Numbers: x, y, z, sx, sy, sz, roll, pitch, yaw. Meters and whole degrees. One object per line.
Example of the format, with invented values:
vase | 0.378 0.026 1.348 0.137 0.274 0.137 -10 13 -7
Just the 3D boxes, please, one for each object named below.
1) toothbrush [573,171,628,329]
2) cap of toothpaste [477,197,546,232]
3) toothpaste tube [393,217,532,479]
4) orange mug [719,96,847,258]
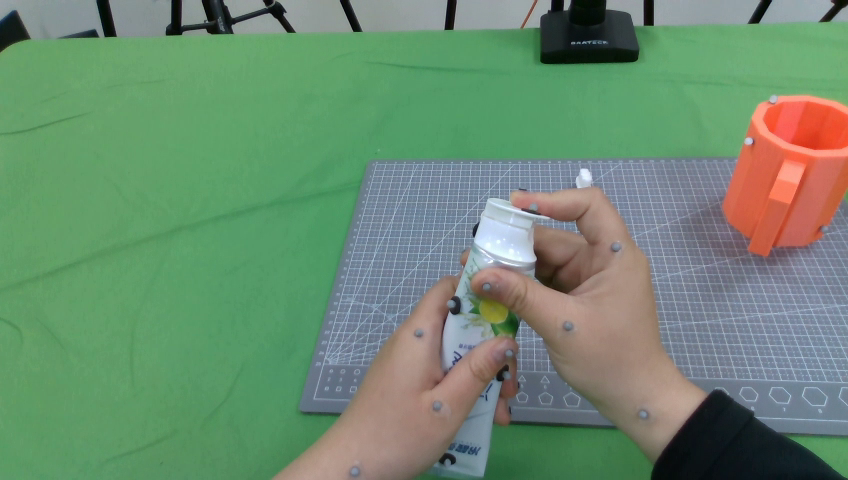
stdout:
toothbrush | 0.151 0.001 0.523 0.014 0.017 0.180 5 46 -5
cap of toothpaste | 0.046 -0.013 0.318 0.037 0.011 0.037 12 14 -3
toothpaste tube | 0.025 0.061 0.339 0.055 0.165 0.034 14 15 4
orange mug | 0.295 -0.046 0.496 0.083 0.102 0.126 22 47 27
